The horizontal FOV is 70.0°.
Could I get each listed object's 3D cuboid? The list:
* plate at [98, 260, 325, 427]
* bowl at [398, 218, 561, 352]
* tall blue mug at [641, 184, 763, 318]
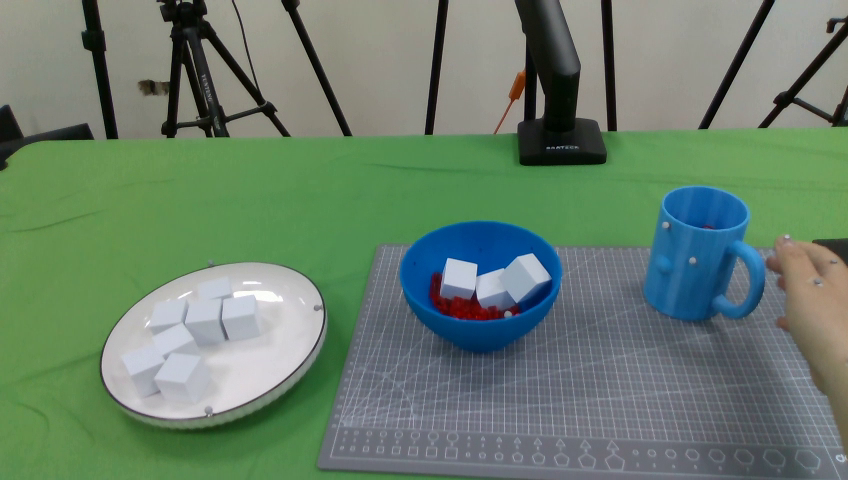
[{"bbox_3d":[-0.197,0.097,0.585,0.209,0.038,0.207,-2,37,2],"label":"plate"},{"bbox_3d":[0.053,0.053,0.580,0.151,0.077,0.150,-3,37,2],"label":"bowl"},{"bbox_3d":[0.271,0.016,0.581,0.106,0.109,0.077,21,43,29],"label":"tall blue mug"}]
